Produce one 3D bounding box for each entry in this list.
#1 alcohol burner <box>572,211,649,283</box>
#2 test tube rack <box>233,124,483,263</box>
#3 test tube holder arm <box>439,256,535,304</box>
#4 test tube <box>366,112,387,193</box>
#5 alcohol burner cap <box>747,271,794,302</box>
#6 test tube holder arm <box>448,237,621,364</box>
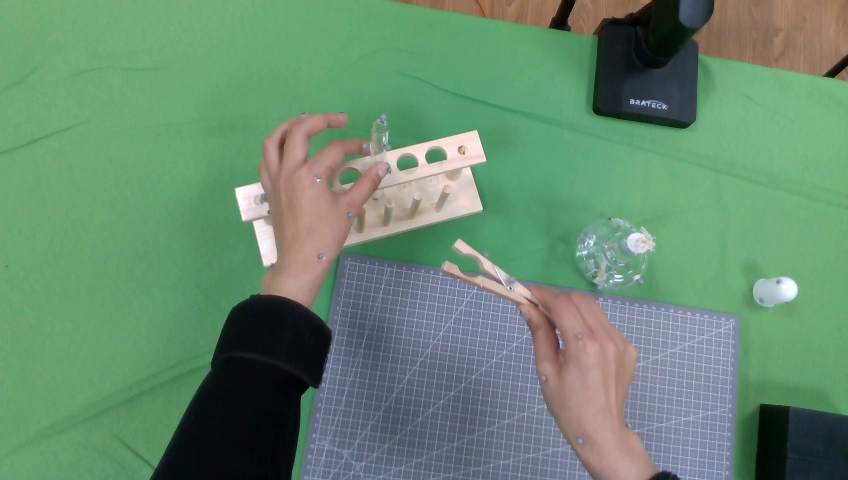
[{"bbox_3d":[0.198,0.005,0.626,0.078,0.119,0.077,1,80,-7],"label":"alcohol burner"},{"bbox_3d":[-0.060,-0.046,0.623,0.243,0.085,0.066,-15,80,-8],"label":"test tube rack"},{"bbox_3d":[0.054,0.035,0.513,0.088,0.015,0.010,22,81,-6],"label":"test tube holder arm"},{"bbox_3d":[-0.047,-0.078,0.579,0.017,0.151,0.017,2,72,-6],"label":"test tube"},{"bbox_3d":[0.388,0.051,0.673,0.034,0.048,0.033,1,78,-4],"label":"alcohol burner cap"},{"bbox_3d":[0.096,0.052,0.518,0.179,0.015,0.013,34,81,-4],"label":"test tube holder arm"}]
